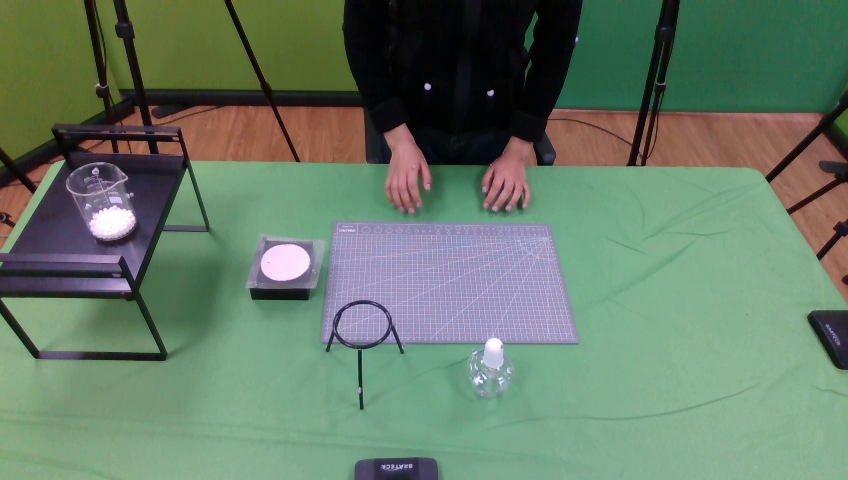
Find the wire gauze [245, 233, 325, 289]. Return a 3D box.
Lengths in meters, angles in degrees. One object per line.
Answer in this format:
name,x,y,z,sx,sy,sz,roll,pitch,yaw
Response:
wire gauze,-0.245,0.038,1.082,0.121,0.011,0.124,5,47,-3

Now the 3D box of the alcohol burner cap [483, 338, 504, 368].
alcohol burner cap,0.108,0.170,0.928,0.034,0.048,0.033,0,41,1

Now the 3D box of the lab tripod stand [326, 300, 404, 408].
lab tripod stand,-0.099,0.167,0.950,0.148,0.132,0.147,1,47,-1

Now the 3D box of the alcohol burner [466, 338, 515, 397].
alcohol burner,0.106,0.194,0.952,0.078,0.120,0.077,1,45,-1

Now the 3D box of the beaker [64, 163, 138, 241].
beaker,-0.478,-0.055,0.910,0.084,0.101,0.073,-9,48,-13
